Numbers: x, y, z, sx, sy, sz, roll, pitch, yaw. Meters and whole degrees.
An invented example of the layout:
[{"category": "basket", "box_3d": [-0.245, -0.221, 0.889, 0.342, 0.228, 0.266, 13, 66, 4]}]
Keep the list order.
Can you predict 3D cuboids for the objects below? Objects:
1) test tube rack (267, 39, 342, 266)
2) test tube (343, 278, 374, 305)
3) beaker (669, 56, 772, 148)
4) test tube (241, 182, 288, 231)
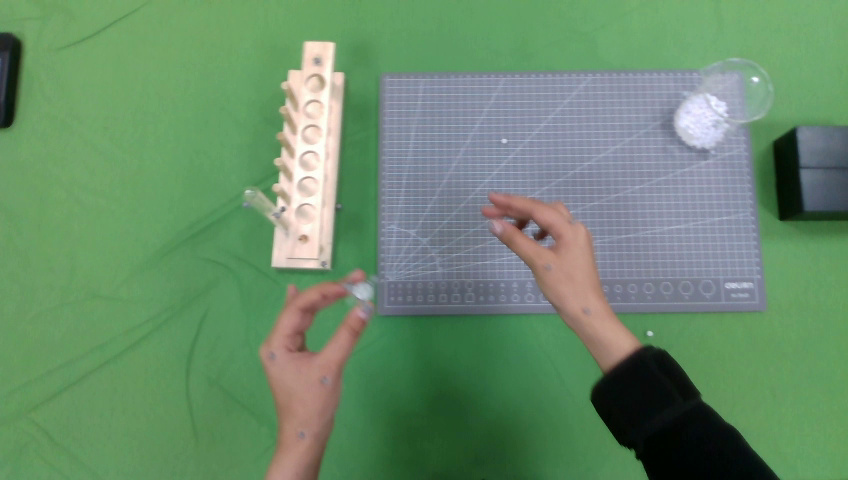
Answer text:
[{"category": "test tube rack", "box_3d": [-0.139, -0.096, 0.688, 0.067, 0.085, 0.241, 2, 80, 0]}, {"category": "test tube", "box_3d": [-0.057, 0.045, 0.504, 0.017, 0.150, 0.017, 1, 82, -10]}, {"category": "beaker", "box_3d": [0.329, -0.154, 0.691, 0.084, 0.100, 0.074, 36, 81, 8]}, {"category": "test tube", "box_3d": [-0.161, -0.033, 0.631, 0.017, 0.151, 0.017, 0, 78, 1]}]
